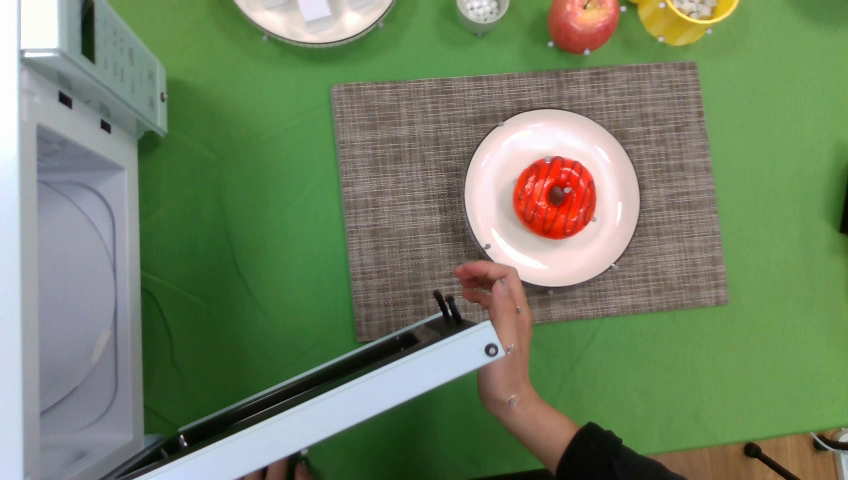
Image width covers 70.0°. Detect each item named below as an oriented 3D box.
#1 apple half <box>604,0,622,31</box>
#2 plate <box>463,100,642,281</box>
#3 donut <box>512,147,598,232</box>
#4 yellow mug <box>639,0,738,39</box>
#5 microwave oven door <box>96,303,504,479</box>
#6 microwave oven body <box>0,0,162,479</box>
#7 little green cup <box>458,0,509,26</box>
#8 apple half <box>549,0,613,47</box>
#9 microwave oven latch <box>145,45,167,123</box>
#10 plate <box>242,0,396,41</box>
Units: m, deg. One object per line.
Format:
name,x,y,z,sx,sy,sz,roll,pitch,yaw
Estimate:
apple half,0.207,-0.281,0.708,0.033,0.081,0.081,-32,89,-2
plate,0.146,-0.056,0.703,0.209,0.038,0.208,0,87,-5
donut,0.150,-0.057,0.692,0.099,0.048,0.099,0,88,-4
yellow mug,0.303,-0.303,0.722,0.131,0.064,0.099,6,85,-4
microwave oven door,-0.114,0.147,0.550,0.356,0.244,0.039,-24,87,-6
microwave oven body,-0.424,0.008,0.534,0.326,0.260,0.441,-3,87,-6
little green cup,0.068,-0.284,0.713,0.061,0.038,0.061,0,86,-5
apple half,0.174,-0.260,0.705,0.053,0.074,0.081,-32,93,-2
microwave oven latch,-0.294,-0.168,0.653,0.030,0.029,0.079,-1,87,-6
plate,-0.121,-0.327,0.698,0.208,0.039,0.207,0,86,-5
